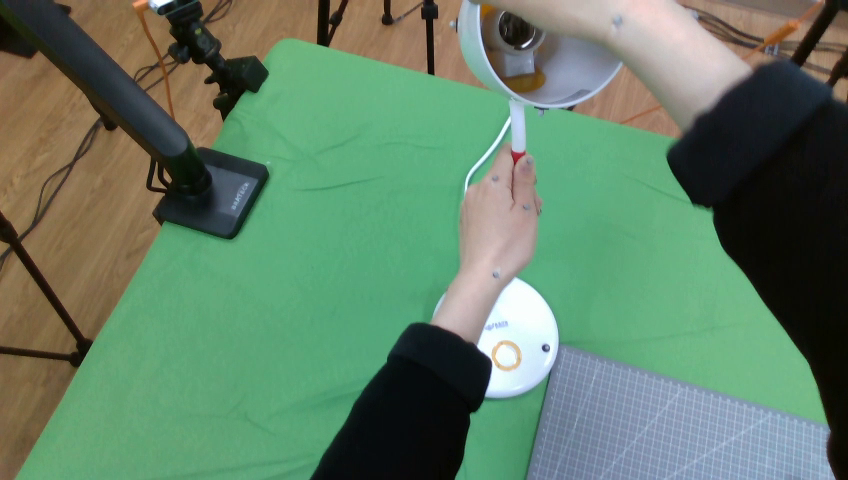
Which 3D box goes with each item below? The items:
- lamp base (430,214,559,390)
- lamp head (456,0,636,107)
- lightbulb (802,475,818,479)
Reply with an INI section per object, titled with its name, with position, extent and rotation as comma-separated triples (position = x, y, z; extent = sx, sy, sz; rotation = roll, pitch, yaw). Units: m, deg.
[lamp base]
position = 0.083, 0.062, 0.688
extent = 0.161, 0.181, 0.177
rotation = -23, 64, -12
[lamp head]
position = 0.073, -0.154, 0.437
extent = 0.113, 0.122, 0.113
rotation = -3, 101, -14
[lightbulb]
position = 0.428, 0.306, 0.646
extent = 0.059, 0.060, 0.106
rotation = 4, 48, 1
